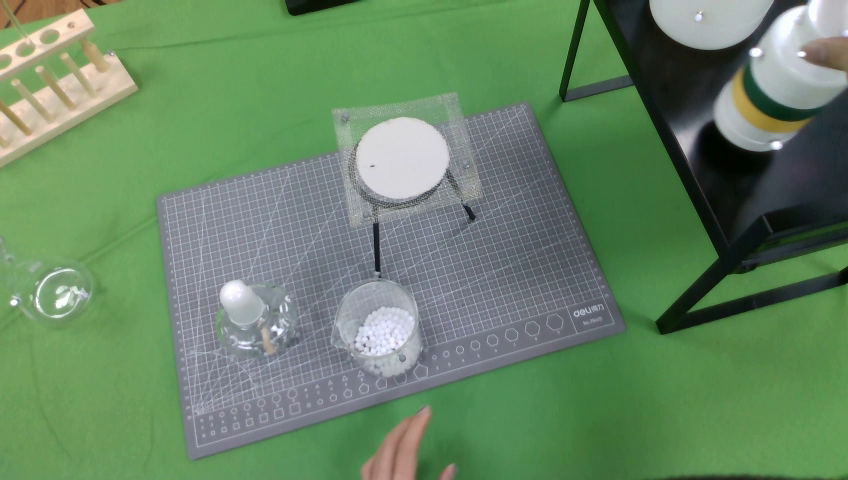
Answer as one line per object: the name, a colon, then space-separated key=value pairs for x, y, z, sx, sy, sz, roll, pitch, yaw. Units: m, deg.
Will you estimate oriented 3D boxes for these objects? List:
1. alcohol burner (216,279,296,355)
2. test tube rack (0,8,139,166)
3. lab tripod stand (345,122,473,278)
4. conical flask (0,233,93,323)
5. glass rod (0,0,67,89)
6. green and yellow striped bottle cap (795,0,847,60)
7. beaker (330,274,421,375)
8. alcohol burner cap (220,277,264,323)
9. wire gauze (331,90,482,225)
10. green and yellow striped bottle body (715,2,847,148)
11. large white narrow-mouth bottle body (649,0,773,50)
alcohol burner: x=-0.165 y=0.068 z=0.580 sx=0.078 sy=0.120 sz=0.077 roll=0 pitch=65 yaw=1
test tube rack: x=-0.477 y=-0.164 z=0.709 sx=0.242 sy=0.086 sz=0.066 roll=-34 pitch=70 yaw=-12
lab tripod stand: x=-0.021 y=-0.047 z=0.613 sx=0.148 sy=0.132 sz=0.147 roll=0 pitch=65 yaw=1
conical flask: x=-0.396 y=0.032 z=0.602 sx=0.075 sy=0.123 sz=0.075 roll=-1 pitch=66 yaw=2
glass rod: x=-0.443 y=-0.234 z=0.666 sx=0.008 sy=0.201 sz=0.008 roll=1 pitch=64 yaw=-2
green and yellow striped bottle cap: x=0.257 y=-0.136 z=0.374 sx=0.045 sy=0.020 sz=0.045 roll=-2 pitch=71 yaw=5
beaker: x=-0.042 y=0.087 z=0.575 sx=0.084 sy=0.101 sz=0.073 roll=-27 pitch=67 yaw=-8
alcohol burner cap: x=-0.167 y=0.052 z=0.547 sx=0.034 sy=0.048 sz=0.033 roll=0 pitch=59 yaw=1
wire gauze: x=-0.018 y=-0.080 z=0.553 sx=0.121 sy=0.011 sz=0.124 roll=-10 pitch=67 yaw=-4
green and yellow striped bottle body: x=0.260 y=-0.119 z=0.427 sx=0.063 sy=0.120 sz=0.063 roll=-1 pitch=72 yaw=2
large white narrow-mouth bottle body: x=0.248 y=-0.248 z=0.463 sx=0.102 sy=0.196 sz=0.101 roll=-1 pitch=64 yaw=2
